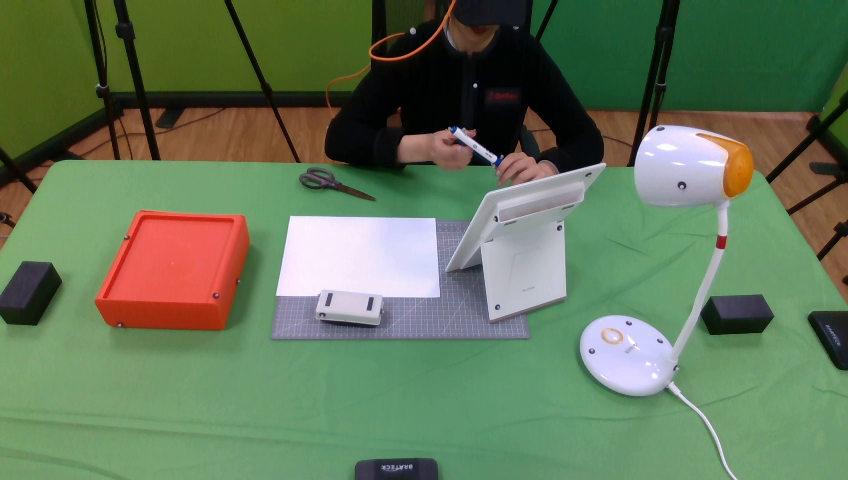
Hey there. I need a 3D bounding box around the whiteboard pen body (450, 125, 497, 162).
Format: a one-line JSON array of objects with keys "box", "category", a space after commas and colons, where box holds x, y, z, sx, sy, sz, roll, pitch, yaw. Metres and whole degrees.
[{"box": [0.104, -0.179, 1.165, 0.141, 0.017, 0.017, 30, 37, -30], "category": "whiteboard pen body"}]

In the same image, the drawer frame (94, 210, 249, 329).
[{"box": [-0.434, 0.048, 1.076, 0.202, 0.083, 0.212, 2, 47, -3], "category": "drawer frame"}]

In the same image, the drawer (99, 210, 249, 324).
[{"box": [-0.435, 0.044, 1.081, 0.194, 0.073, 0.210, 3, 47, -2], "category": "drawer"}]

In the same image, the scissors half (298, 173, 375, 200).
[{"box": [-0.188, -0.110, 1.296, 0.175, 0.013, 0.040, 15, 42, 5], "category": "scissors half"}]

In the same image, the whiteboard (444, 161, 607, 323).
[{"box": [0.186, 0.025, 1.029, 0.217, 0.306, 0.143, -14, 68, -18], "category": "whiteboard"}]

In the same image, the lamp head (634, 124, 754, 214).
[{"box": [0.351, -0.089, 0.776, 0.112, 0.113, 0.122, -30, 30, -28], "category": "lamp head"}]

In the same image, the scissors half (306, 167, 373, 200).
[{"box": [-0.180, -0.121, 1.311, 0.174, 0.013, 0.040, 27, 39, 18], "category": "scissors half"}]

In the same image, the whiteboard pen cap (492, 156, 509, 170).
[{"box": [0.150, -0.153, 1.191, 0.033, 0.018, 0.018, 27, 44, -18], "category": "whiteboard pen cap"}]

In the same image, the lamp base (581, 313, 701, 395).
[{"box": [0.361, 0.144, 0.973, 0.178, 0.181, 0.160, 34, 53, 23], "category": "lamp base"}]

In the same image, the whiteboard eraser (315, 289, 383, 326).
[{"box": [-0.130, 0.119, 1.054, 0.113, 0.042, 0.055, 6, 47, 1], "category": "whiteboard eraser"}]
